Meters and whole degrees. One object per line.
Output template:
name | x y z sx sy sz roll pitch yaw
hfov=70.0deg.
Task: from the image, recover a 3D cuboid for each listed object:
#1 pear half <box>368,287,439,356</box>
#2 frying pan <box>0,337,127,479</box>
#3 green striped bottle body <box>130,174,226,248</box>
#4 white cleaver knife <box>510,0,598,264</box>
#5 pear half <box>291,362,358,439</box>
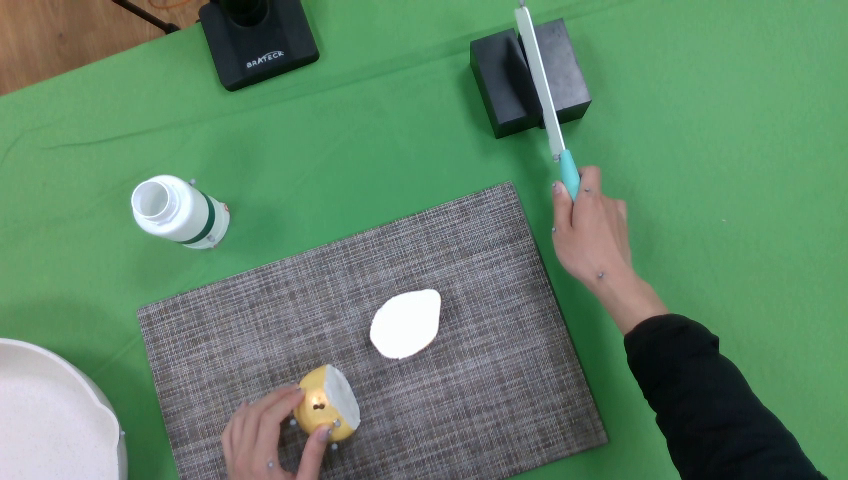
pear half | -0.017 0.090 0.654 0.088 0.031 0.070 -41 65 -15
frying pan | -0.407 0.338 0.603 0.307 0.103 0.484 -24 73 0
green striped bottle body | -0.262 -0.031 0.643 0.063 0.119 0.063 0 80 3
white cleaver knife | 0.138 -0.110 0.642 0.021 0.065 0.287 -16 101 3
pear half | -0.108 0.167 0.608 0.056 0.110 0.076 -32 76 -1
